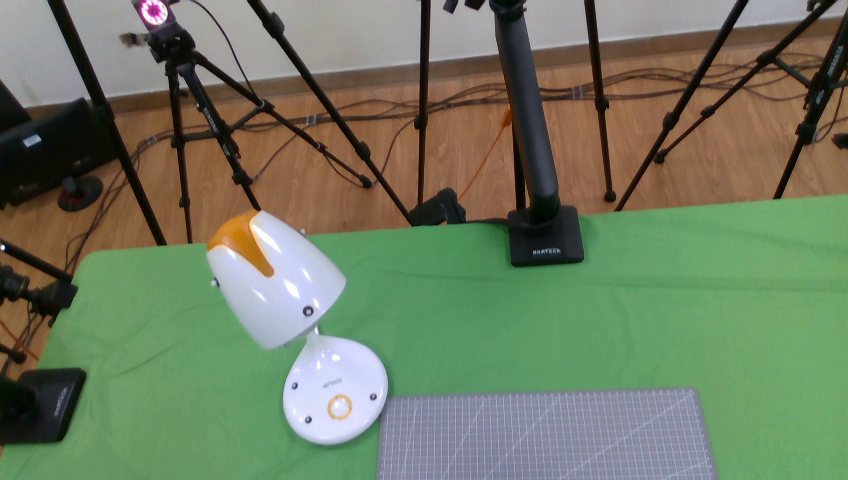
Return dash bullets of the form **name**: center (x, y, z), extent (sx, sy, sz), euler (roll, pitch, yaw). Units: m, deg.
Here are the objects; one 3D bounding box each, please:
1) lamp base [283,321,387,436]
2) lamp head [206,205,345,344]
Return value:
- **lamp base**: center (-0.152, 0.165, 0.860), extent (0.160, 0.182, 0.177), euler (-28, 52, -10)
- **lamp head**: center (-0.158, 0.025, 0.612), extent (0.112, 0.123, 0.112), euler (-35, 14, 11)
